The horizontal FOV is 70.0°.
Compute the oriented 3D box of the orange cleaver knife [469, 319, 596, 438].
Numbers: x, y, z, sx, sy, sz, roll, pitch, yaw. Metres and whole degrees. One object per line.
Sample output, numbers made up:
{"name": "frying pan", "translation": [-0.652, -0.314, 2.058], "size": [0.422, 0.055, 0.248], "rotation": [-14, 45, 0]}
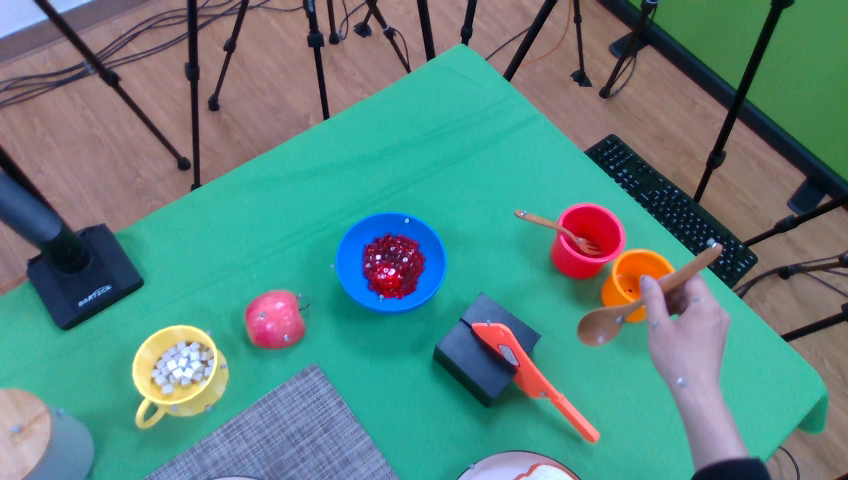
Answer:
{"name": "orange cleaver knife", "translation": [0.138, 0.178, 0.784], "size": [0.211, 0.077, 0.012], "rotation": [48, 59, -5]}

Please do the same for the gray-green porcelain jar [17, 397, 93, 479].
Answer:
{"name": "gray-green porcelain jar", "translation": [-0.443, 0.233, 0.675], "size": [0.106, 0.127, 0.105], "rotation": [2, 62, -4]}

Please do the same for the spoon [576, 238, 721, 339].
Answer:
{"name": "spoon", "translation": [0.235, 0.055, 0.646], "size": [0.041, 0.194, 0.021], "rotation": [44, 44, 0]}

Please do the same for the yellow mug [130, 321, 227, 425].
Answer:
{"name": "yellow mug", "translation": [-0.313, 0.171, 0.754], "size": [0.099, 0.064, 0.130], "rotation": [27, 64, 9]}

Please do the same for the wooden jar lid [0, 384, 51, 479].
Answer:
{"name": "wooden jar lid", "translation": [-0.438, 0.203, 0.620], "size": [0.108, 0.021, 0.107], "rotation": [2, 61, -3]}

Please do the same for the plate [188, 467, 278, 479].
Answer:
{"name": "plate", "translation": [-0.221, 0.364, 0.673], "size": [0.208, 0.039, 0.206], "rotation": [2, 62, -4]}

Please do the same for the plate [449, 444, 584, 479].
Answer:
{"name": "plate", "translation": [0.111, 0.351, 0.715], "size": [0.209, 0.038, 0.207], "rotation": [2, 63, -4]}

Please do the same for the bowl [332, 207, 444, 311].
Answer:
{"name": "bowl", "translation": [-0.050, 0.038, 0.841], "size": [0.151, 0.077, 0.150], "rotation": [2, 63, -4]}

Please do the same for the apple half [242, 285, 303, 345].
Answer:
{"name": "apple half", "translation": [-0.205, 0.096, 0.811], "size": [0.075, 0.054, 0.080], "rotation": [-13, 65, -9]}

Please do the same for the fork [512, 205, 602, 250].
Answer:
{"name": "fork", "translation": [0.190, -0.017, 0.853], "size": [0.209, 0.018, 0.028], "rotation": [21, 51, -43]}
